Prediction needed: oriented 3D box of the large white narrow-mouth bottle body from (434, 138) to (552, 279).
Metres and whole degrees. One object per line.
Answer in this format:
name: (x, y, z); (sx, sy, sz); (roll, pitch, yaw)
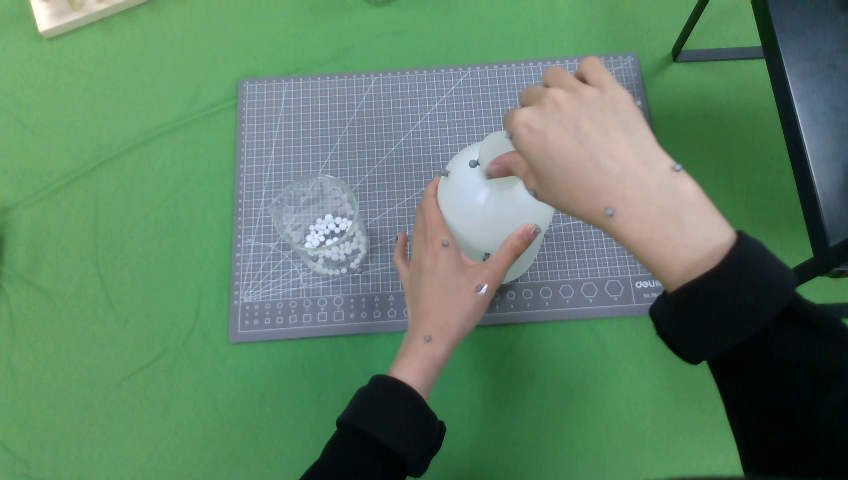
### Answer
large white narrow-mouth bottle body: (0.060, -0.034, 0.530); (0.102, 0.196, 0.101); (-1, 72, 4)

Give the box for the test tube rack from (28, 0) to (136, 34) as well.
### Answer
test tube rack: (-0.352, -0.331, 0.694); (0.242, 0.086, 0.066); (-24, 73, -6)

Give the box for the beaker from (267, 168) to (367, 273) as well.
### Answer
beaker: (-0.096, -0.013, 0.576); (0.084, 0.101, 0.073); (7, 71, 5)

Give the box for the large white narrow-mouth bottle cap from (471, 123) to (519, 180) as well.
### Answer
large white narrow-mouth bottle cap: (0.051, -0.063, 0.441); (0.038, 0.024, 0.037); (-1, 73, 4)
